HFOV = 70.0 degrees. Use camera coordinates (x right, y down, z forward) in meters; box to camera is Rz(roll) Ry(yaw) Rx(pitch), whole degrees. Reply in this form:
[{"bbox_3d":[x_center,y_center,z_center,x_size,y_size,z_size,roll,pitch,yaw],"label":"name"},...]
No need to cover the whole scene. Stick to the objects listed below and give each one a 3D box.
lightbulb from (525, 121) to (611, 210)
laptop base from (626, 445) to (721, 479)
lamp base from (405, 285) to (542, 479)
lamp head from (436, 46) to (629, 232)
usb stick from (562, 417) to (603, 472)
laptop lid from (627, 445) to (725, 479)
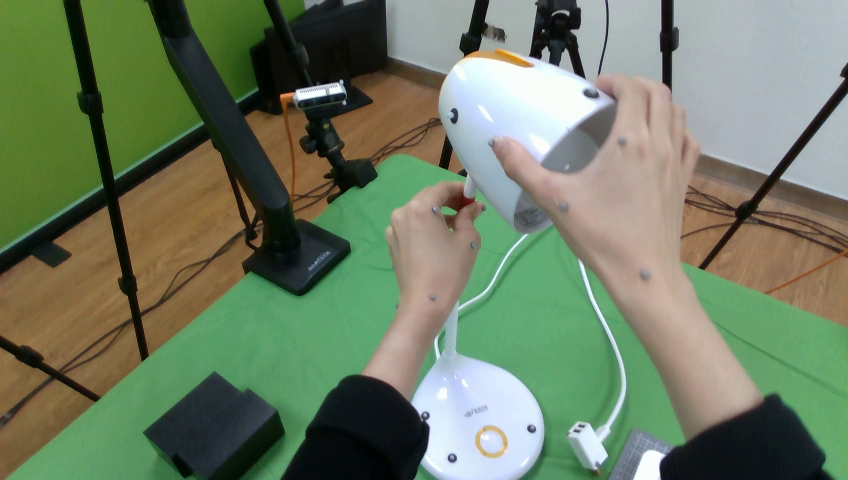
[{"bbox_3d":[0.093,-0.071,0.424,0.059,0.060,0.106,-7,64,-6],"label":"lightbulb"},{"bbox_3d":[0.336,0.366,0.556,0.352,0.023,0.234,22,53,22],"label":"laptop base"},{"bbox_3d":[0.049,0.147,0.667,0.161,0.182,0.177,-25,46,-23],"label":"lamp base"},{"bbox_3d":[0.065,-0.081,0.440,0.112,0.113,0.121,-30,57,-26],"label":"lamp head"},{"bbox_3d":[0.180,0.230,0.676,0.027,0.059,0.021,-31,8,-31],"label":"usb stick"},{"bbox_3d":[0.334,0.359,0.547,0.354,0.013,0.241,23,52,23],"label":"laptop lid"}]
